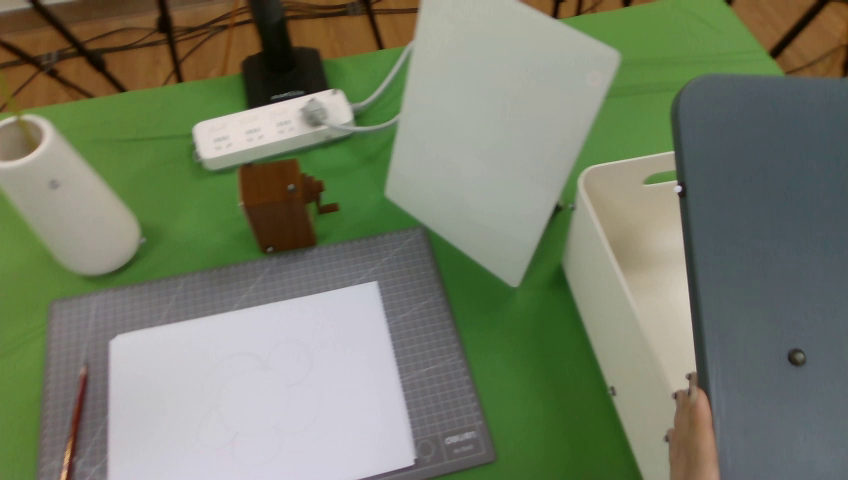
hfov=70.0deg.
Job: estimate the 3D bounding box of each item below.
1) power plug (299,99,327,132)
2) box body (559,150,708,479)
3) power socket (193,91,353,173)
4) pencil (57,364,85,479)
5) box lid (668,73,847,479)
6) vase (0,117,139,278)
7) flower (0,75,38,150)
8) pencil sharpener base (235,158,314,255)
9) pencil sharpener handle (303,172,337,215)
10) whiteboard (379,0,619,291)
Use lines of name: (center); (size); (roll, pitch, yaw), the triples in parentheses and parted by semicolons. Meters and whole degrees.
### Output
power plug: (-0.148, -0.156, 0.810); (0.035, 0.053, 0.072); (-9, 59, -5)
box body: (0.308, 0.095, 0.602); (0.254, 0.162, 0.360); (-10, 58, -7)
power socket: (-0.206, -0.151, 0.834); (0.227, 0.033, 0.071); (-17, 60, -11)
pencil: (-0.360, 0.214, 0.610); (0.012, 0.012, 0.192); (-6, 56, -4)
box lid: (0.301, 0.056, 0.385); (0.263, 0.015, 0.369); (1, 73, -1)
vase: (-0.395, -0.041, 0.663); (0.098, 0.202, 0.097); (-1, 57, 1)
flower: (-0.393, -0.101, 0.605); (0.038, 0.365, 0.043); (-22, 42, -22)
pencil sharpener base: (-0.172, -0.039, 0.718); (0.077, 0.108, 0.060); (-10, 57, -7)
pencil sharpener handle: (-0.122, -0.054, 0.714); (0.031, 0.068, 0.035); (-10, 56, -7)
whiteboard: (0.097, -0.135, 0.700); (0.215, 0.307, 0.144); (36, 45, 22)
